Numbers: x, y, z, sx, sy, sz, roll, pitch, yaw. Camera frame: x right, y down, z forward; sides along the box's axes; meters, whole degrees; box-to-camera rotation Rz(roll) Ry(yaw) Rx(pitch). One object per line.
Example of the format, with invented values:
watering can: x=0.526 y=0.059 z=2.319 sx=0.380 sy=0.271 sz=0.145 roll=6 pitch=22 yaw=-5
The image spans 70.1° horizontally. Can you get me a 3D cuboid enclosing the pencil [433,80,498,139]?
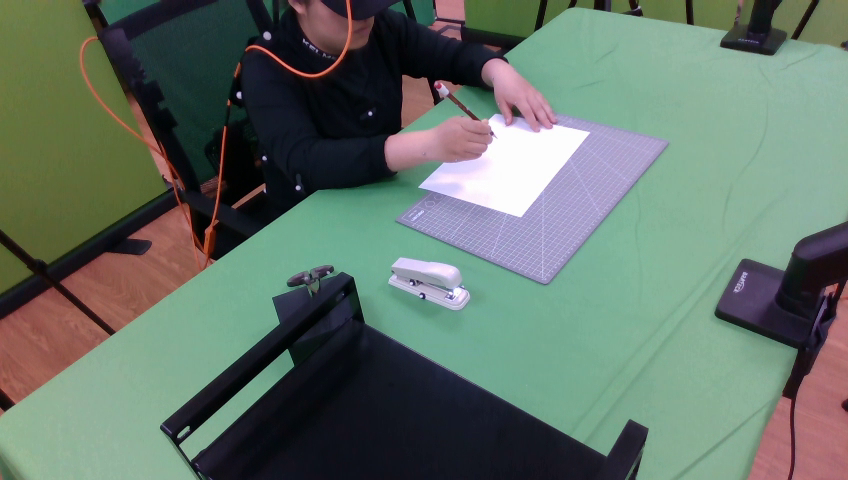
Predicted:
pencil: x=0.075 y=-0.213 z=1.008 sx=0.012 sy=0.196 sz=0.012 roll=-16 pitch=62 yaw=33

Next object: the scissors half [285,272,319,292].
scissors half: x=-0.171 y=0.063 z=0.868 sx=0.040 sy=0.013 sz=0.174 roll=-10 pitch=7 yaw=-21

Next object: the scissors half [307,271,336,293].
scissors half: x=-0.152 y=0.061 z=0.872 sx=0.040 sy=0.013 sz=0.175 roll=-3 pitch=6 yaw=-4

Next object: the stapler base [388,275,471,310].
stapler base: x=0.007 y=0.066 z=0.897 sx=0.129 sy=0.024 sz=0.041 roll=17 pitch=43 yaw=29

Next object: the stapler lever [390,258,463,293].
stapler lever: x=0.003 y=0.046 z=0.881 sx=0.117 sy=0.040 sz=0.027 roll=17 pitch=44 yaw=29
